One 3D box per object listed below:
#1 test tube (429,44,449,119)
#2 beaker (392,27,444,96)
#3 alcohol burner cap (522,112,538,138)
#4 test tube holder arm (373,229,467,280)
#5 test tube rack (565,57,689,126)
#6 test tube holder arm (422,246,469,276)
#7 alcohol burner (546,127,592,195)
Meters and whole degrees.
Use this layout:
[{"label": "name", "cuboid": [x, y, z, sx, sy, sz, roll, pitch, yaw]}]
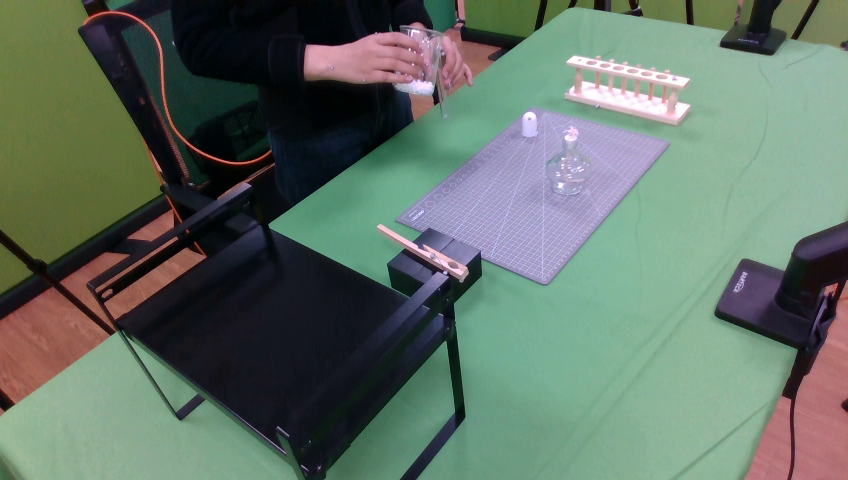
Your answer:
[{"label": "test tube", "cuboid": [0.029, -0.283, 1.096, 0.017, 0.151, 0.017, -7, 45, 7]}, {"label": "beaker", "cuboid": [-0.011, -0.292, 0.994, 0.074, 0.100, 0.084, 13, 15, 9]}, {"label": "alcohol burner cap", "cuboid": [0.210, -0.230, 1.195, 0.034, 0.048, 0.033, -5, 40, 5]}, {"label": "test tube holder arm", "cuboid": [-0.010, 0.019, 0.885, 0.177, 0.015, 0.013, 23, 48, 33]}, {"label": "test tube rack", "cuboid": [0.412, -0.311, 1.230, 0.240, 0.085, 0.067, 23, 49, 32]}, {"label": "test tube holder arm", "cuboid": [0.028, 0.031, 0.864, 0.087, 0.015, 0.010, 25, 48, 34]}, {"label": "alcohol burner", "cuboid": [0.246, -0.137, 1.023, 0.078, 0.119, 0.077, -4, 38, 4]}]
